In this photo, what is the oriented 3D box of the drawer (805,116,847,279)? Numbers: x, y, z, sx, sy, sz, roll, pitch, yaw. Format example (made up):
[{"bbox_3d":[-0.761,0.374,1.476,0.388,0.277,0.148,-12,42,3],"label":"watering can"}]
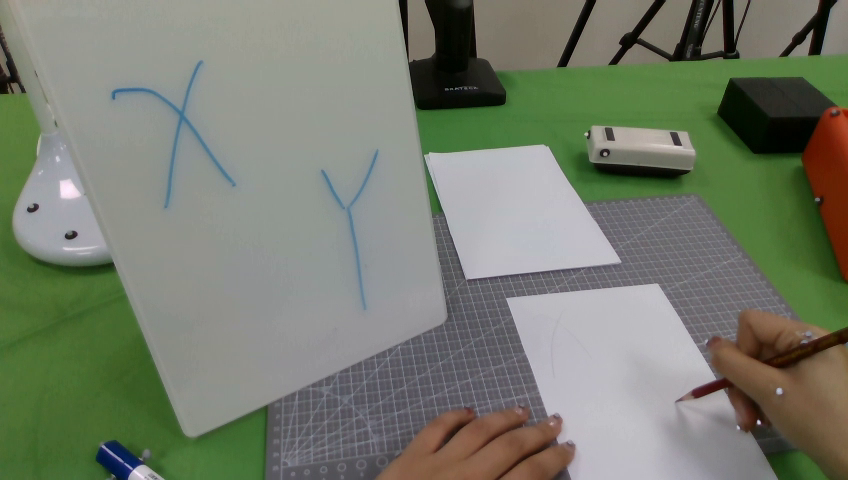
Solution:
[{"bbox_3d":[0.508,-0.033,0.596,0.194,0.074,0.210,11,41,11],"label":"drawer"}]

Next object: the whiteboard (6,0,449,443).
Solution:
[{"bbox_3d":[-0.126,-0.052,0.454,0.217,0.307,0.142,-21,27,-23],"label":"whiteboard"}]

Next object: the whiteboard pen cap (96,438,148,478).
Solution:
[{"bbox_3d":[-0.199,0.145,0.399,0.033,0.018,0.018,22,45,24],"label":"whiteboard pen cap"}]

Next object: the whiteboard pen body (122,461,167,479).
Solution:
[{"bbox_3d":[-0.150,0.167,0.377,0.140,0.017,0.017,23,45,22],"label":"whiteboard pen body"}]

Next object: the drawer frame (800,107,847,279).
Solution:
[{"bbox_3d":[0.508,-0.037,0.599,0.201,0.083,0.212,10,41,9],"label":"drawer frame"}]

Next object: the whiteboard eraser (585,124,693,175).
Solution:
[{"bbox_3d":[0.243,-0.102,0.690,0.112,0.042,0.055,6,43,3],"label":"whiteboard eraser"}]

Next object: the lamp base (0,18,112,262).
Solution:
[{"bbox_3d":[-0.319,-0.097,0.546,0.178,0.182,0.160,22,45,24],"label":"lamp base"}]

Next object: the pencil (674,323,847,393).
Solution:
[{"bbox_3d":[0.231,0.071,0.384,0.012,0.194,0.012,13,57,-21],"label":"pencil"}]
